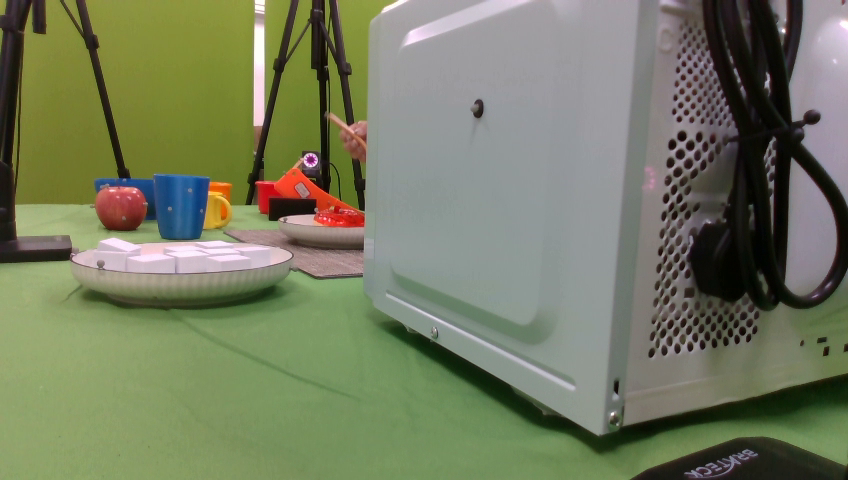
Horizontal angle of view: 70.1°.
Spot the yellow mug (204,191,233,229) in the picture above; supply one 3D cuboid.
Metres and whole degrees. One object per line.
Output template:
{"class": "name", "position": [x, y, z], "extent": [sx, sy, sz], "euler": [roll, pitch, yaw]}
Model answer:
{"class": "yellow mug", "position": [-0.415, -0.057, 1.131], "extent": [0.130, 0.064, 0.100], "euler": [6, 8, 16]}

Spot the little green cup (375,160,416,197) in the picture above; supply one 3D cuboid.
{"class": "little green cup", "position": [-0.044, -0.098, 0.978], "extent": [0.061, 0.038, 0.061], "euler": [-26, -4, -2]}

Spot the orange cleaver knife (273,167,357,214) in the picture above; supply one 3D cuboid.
{"class": "orange cleaver knife", "position": [-0.238, -0.091, 1.381], "extent": [0.212, 0.077, 0.012], "euler": [31, 0, -19]}

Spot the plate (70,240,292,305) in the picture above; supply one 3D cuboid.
{"class": "plate", "position": [-0.242, 0.031, 0.618], "extent": [0.208, 0.039, 0.207], "euler": [2, 8, 0]}

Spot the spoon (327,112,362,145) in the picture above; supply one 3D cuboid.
{"class": "spoon", "position": [-0.103, -0.158, 1.009], "extent": [0.193, 0.021, 0.042], "euler": [50, 27, 22]}

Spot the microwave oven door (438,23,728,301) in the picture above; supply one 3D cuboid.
{"class": "microwave oven door", "position": [0.181, -0.072, 0.620], "extent": [0.358, 0.243, 0.039], "euler": [-2, 8, -29]}

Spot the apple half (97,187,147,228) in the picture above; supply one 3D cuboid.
{"class": "apple half", "position": [-0.534, -0.059, 1.071], "extent": [0.082, 0.081, 0.032], "euler": [-1, 11, -25]}

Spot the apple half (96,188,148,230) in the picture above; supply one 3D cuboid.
{"class": "apple half", "position": [-0.517, -0.052, 1.036], "extent": [0.081, 0.074, 0.053], "euler": [3, 10, -26]}

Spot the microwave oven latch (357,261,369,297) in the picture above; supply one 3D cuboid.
{"class": "microwave oven latch", "position": [-0.019, 0.033, 0.531], "extent": [0.079, 0.029, 0.030], "euler": [-1, 7, -27]}

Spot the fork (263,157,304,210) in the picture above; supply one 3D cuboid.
{"class": "fork", "position": [-0.345, -0.143, 1.505], "extent": [0.028, 0.019, 0.207], "euler": [-4, 46, 28]}

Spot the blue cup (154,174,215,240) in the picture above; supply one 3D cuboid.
{"class": "blue cup", "position": [-0.391, -0.053, 0.978], "extent": [0.093, 0.100, 0.092], "euler": [4, 6, 0]}

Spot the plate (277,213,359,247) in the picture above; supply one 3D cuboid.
{"class": "plate", "position": [-0.134, -0.017, 0.992], "extent": [0.209, 0.038, 0.209], "euler": [2, 7, 0]}

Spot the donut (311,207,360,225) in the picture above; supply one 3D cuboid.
{"class": "donut", "position": [-0.137, -0.029, 0.995], "extent": [0.099, 0.048, 0.099], "euler": [3, 8, 0]}

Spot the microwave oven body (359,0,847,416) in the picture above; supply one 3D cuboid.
{"class": "microwave oven body", "position": [0.211, -0.047, 0.474], "extent": [0.444, 0.260, 0.324], "euler": [-1, 7, -28]}

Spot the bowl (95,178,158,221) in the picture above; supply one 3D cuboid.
{"class": "bowl", "position": [-0.576, -0.081, 1.217], "extent": [0.151, 0.077, 0.151], "euler": [3, 8, 0]}
